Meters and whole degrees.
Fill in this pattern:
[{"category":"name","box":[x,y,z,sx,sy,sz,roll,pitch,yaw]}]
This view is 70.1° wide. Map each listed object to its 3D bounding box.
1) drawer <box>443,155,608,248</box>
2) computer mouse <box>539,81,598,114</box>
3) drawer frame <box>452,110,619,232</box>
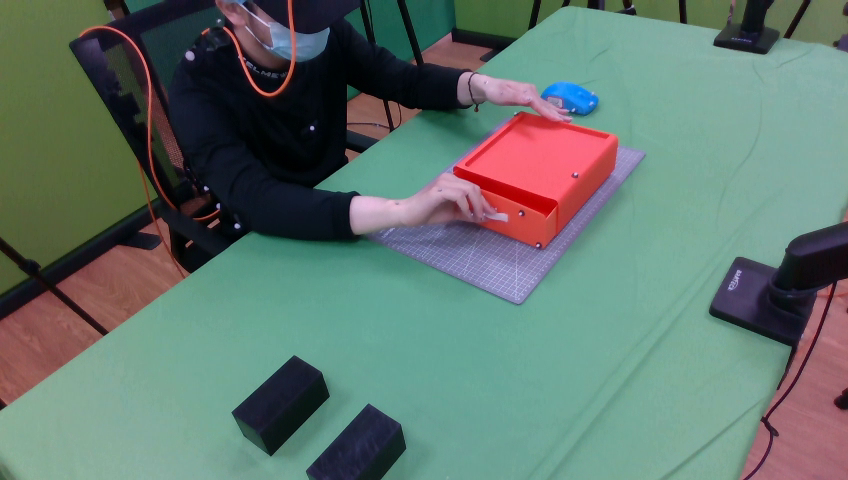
[{"category":"drawer","box":[0.171,-0.099,1.012,0.193,0.073,0.212,23,48,32]},{"category":"computer mouse","box":[0.302,-0.299,1.262,0.116,0.041,0.063,26,49,27]},{"category":"drawer frame","box":[0.191,-0.122,1.033,0.200,0.083,0.214,23,48,31]}]
